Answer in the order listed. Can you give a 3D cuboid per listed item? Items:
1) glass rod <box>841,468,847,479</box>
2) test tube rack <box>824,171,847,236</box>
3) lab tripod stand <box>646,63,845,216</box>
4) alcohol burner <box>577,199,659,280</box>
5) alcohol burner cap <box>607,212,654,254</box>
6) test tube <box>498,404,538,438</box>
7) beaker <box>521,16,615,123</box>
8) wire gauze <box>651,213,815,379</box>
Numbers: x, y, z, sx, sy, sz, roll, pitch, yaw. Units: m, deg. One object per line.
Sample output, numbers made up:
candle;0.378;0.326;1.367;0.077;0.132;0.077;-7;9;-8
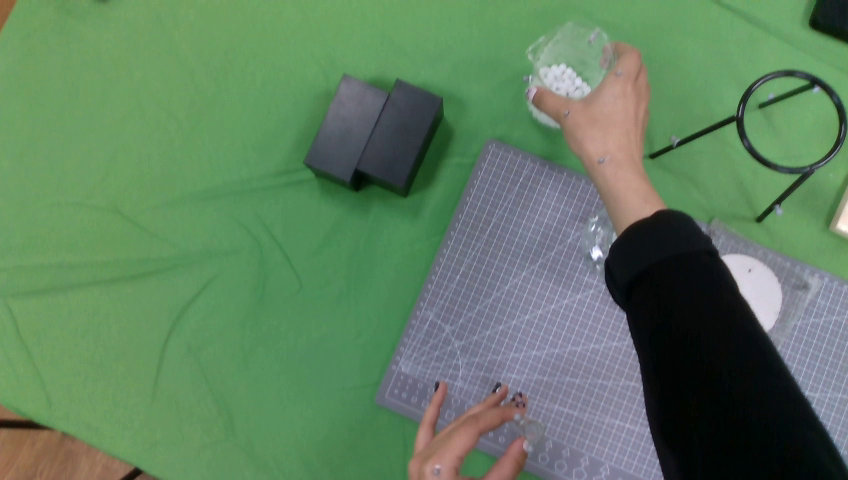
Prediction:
glass rod;0.440;0.181;0.593;0.008;0.008;0.199;29;88;4
test tube rack;0.527;0.004;0.570;0.242;0.085;0.066;27;85;4
lab tripod stand;0.300;-0.095;0.563;0.148;0.132;0.148;0;85;3
alcohol burner;0.184;-0.003;0.564;0.078;0.119;0.077;0;83;4
alcohol burner cap;0.182;-0.009;0.529;0.034;0.048;0.033;0;78;-1
test tube;0.076;0.147;0.501;0.017;0.151;0.017;0;78;1
beaker;0.132;-0.161;0.592;0.084;0.100;0.074;15;85;4
wire gauze;0.309;0.055;0.608;0.125;0.011;0.121;34;87;4
